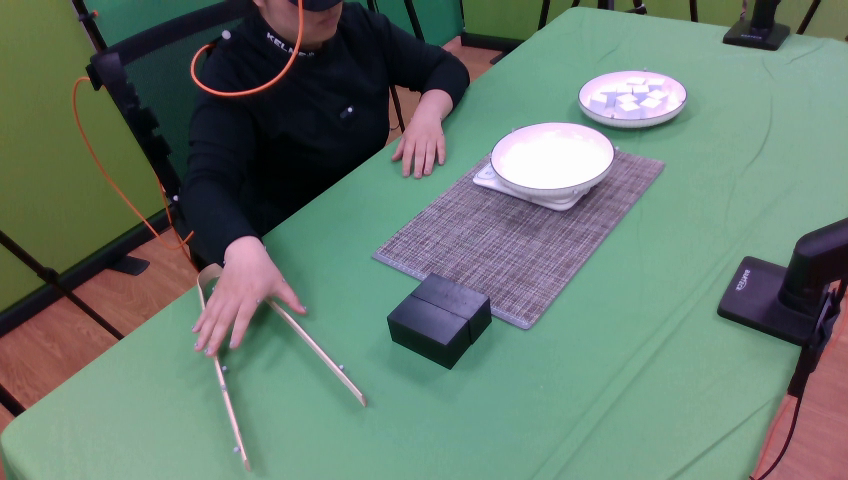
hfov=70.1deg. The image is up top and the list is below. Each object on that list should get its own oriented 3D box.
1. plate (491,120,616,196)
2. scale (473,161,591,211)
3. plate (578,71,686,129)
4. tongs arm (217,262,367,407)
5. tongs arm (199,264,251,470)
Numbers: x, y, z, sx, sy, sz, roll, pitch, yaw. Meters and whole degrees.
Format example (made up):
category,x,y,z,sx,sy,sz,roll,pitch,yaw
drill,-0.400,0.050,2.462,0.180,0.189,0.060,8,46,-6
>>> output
category,x,y,z,sx,sy,sz,roll,pitch,yaw
plate,0.221,-0.137,1.038,0.207,0.039,0.206,-6,41,5
scale,0.202,-0.121,1.074,0.199,0.032,0.149,23,49,33
plate,0.416,-0.279,1.222,0.209,0.038,0.208,-5,41,5
tongs arm,-0.200,0.122,0.871,0.028,0.028,0.384,-36,46,-24
tongs arm,-0.269,0.154,0.841,0.051,0.026,0.381,-23,41,-17
